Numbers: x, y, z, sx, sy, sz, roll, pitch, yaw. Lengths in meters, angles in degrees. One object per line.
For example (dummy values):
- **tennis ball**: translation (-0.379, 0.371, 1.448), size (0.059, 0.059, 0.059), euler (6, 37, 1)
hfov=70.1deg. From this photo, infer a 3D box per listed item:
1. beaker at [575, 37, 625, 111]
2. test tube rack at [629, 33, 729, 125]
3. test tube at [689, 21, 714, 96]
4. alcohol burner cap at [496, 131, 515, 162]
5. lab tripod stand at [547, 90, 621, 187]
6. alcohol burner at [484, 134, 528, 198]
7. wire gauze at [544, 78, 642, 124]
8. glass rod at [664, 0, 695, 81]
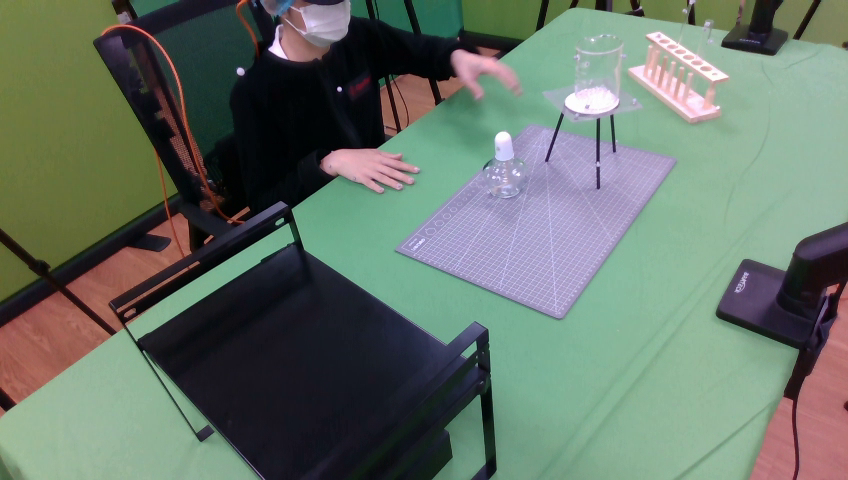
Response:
- **beaker**: translation (0.283, -0.271, 0.988), size (0.074, 0.101, 0.083), euler (-10, 39, 1)
- **test tube rack**: translation (0.516, -0.337, 1.247), size (0.067, 0.085, 0.240), euler (-14, 41, -7)
- **test tube**: translation (0.541, -0.353, 1.184), size (0.017, 0.151, 0.017), euler (-2, 40, 2)
- **alcohol burner cap**: translation (0.135, -0.160, 1.019), size (0.034, 0.048, 0.033), euler (-8, 38, 6)
- **lab tripod stand**: translation (0.289, -0.184, 1.062), size (0.148, 0.132, 0.147), euler (-6, 41, 6)
- **alcohol burner**: translation (0.141, -0.133, 1.041), size (0.078, 0.119, 0.077), euler (-5, 43, 5)
- **wire gauze**: translation (0.282, -0.234, 1.022), size (0.125, 0.011, 0.120), euler (-17, 38, -4)
- **glass rod**: translation (0.523, -0.415, 1.234), size (0.008, 0.200, 0.008), euler (1, 46, 0)
